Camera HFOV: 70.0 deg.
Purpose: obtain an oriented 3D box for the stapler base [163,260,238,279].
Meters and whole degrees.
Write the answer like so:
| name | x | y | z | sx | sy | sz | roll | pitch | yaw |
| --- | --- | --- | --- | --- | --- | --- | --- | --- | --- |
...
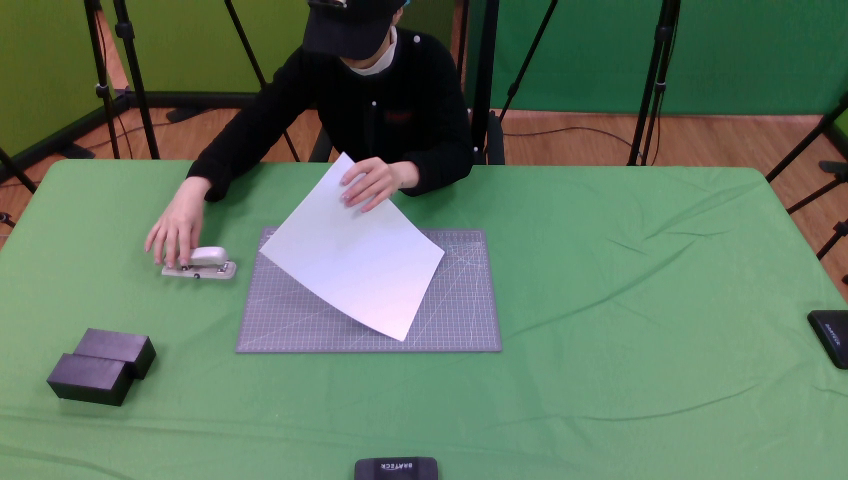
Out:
| name | x | y | z | sx | sy | sz | roll | pitch | yaw |
| --- | --- | --- | --- | --- | --- | --- | --- | --- | --- |
| stapler base | -0.414 | 0.046 | 1.120 | 0.130 | 0.024 | 0.041 | 3 | 43 | 1 |

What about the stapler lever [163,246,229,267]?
| name | x | y | z | sx | sy | sz | roll | pitch | yaw |
| --- | --- | --- | --- | --- | --- | --- | --- | --- | --- |
| stapler lever | -0.415 | 0.029 | 1.103 | 0.118 | 0.040 | 0.026 | 4 | 43 | 0 |
